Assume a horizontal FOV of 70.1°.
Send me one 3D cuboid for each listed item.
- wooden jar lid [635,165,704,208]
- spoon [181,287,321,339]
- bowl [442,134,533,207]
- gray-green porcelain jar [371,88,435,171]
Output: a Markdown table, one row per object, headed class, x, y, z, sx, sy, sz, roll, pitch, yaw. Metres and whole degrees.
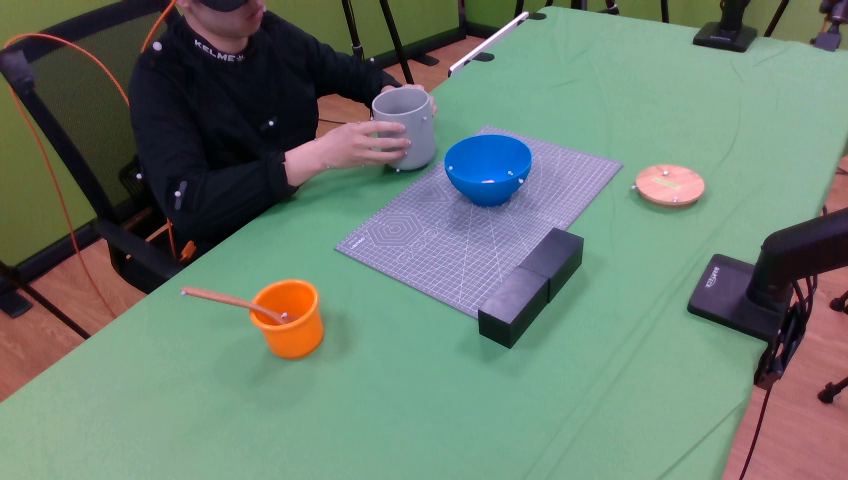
| class | x | y | z | sx | sy | sz | roll | pitch | yaw |
| --- | --- | --- | --- | --- | --- | --- | --- | --- | --- |
| wooden jar lid | 0.410 | -0.089 | 1.014 | 0.108 | 0.021 | 0.108 | -5 | 42 | 5 |
| spoon | -0.223 | 0.093 | 0.796 | 0.021 | 0.195 | 0.041 | -46 | 36 | 24 |
| bowl | 0.110 | -0.109 | 1.033 | 0.151 | 0.077 | 0.150 | -4 | 40 | 4 |
| gray-green porcelain jar | -0.036 | -0.201 | 1.123 | 0.106 | 0.127 | 0.105 | -5 | 40 | 4 |
